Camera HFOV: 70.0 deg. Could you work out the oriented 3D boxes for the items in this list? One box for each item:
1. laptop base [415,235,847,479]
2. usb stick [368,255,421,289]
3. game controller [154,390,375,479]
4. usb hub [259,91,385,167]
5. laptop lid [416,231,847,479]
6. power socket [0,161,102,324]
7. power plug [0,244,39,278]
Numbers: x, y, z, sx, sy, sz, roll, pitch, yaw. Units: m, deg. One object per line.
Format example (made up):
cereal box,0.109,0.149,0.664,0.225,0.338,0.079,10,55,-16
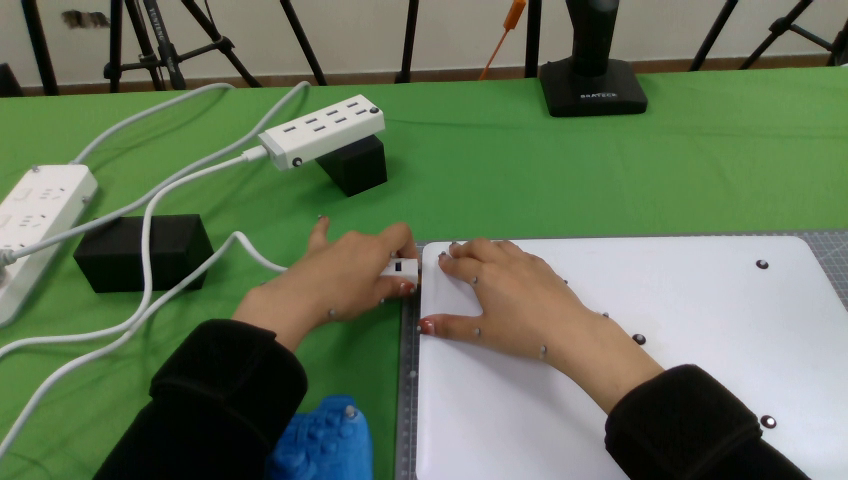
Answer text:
laptop base,0.172,0.087,0.494,0.354,0.023,0.233,-1,48,2
usb stick,-0.020,0.029,0.540,0.059,0.027,0.021,3,42,-5
game controller,-0.109,0.150,0.423,0.155,0.052,0.096,-1,41,2
usb hub,-0.106,-0.118,0.641,0.125,0.025,0.049,-28,51,-22
laptop lid,0.172,0.080,0.484,0.356,0.013,0.239,0,47,3
power socket,-0.399,-0.006,0.605,0.072,0.033,0.224,1,44,3
power plug,-0.373,0.029,0.534,0.072,0.053,0.035,10,45,9
